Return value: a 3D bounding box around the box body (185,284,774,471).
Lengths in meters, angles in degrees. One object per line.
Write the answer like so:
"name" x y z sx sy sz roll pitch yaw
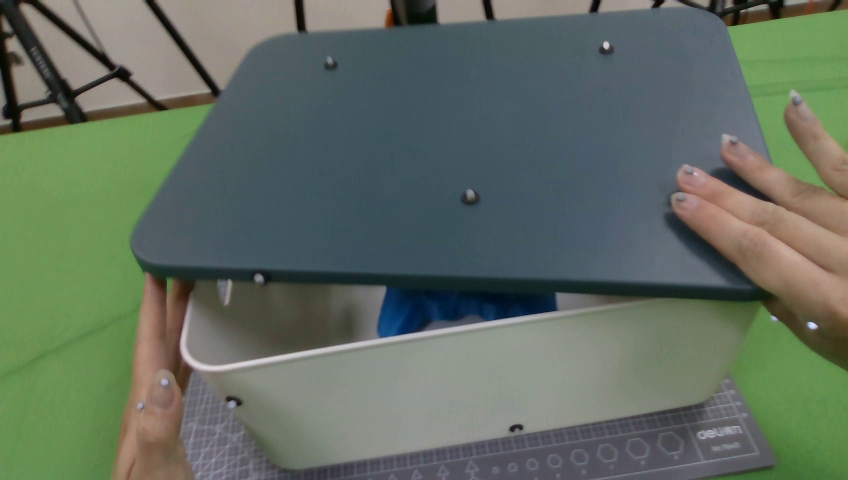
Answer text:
"box body" 0.034 0.018 0.483 0.364 0.162 0.251 -9 44 -1

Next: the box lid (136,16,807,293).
"box lid" 0.021 -0.071 0.401 0.371 0.015 0.261 0 46 11

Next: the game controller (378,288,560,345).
"game controller" 0.041 0.049 0.525 0.155 0.052 0.096 3 42 11
